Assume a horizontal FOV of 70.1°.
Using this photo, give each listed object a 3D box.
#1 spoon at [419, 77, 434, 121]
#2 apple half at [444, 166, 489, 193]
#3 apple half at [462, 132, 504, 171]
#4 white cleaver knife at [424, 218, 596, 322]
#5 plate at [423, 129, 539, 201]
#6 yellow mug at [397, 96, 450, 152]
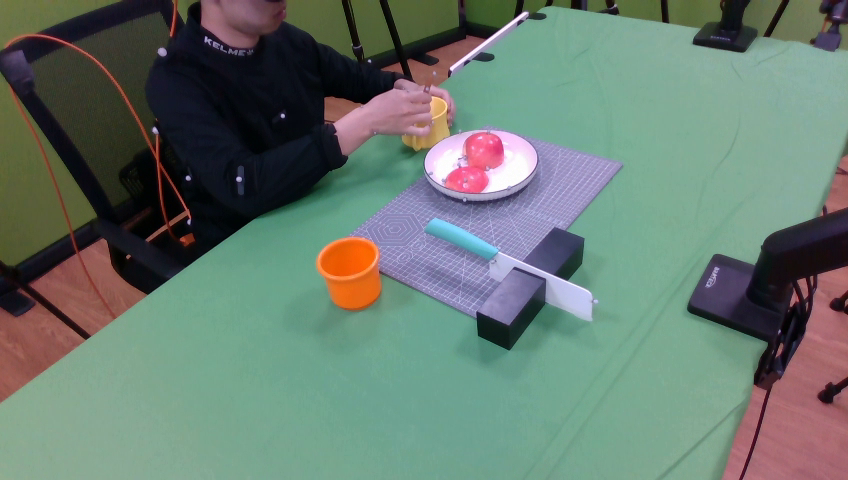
[{"bbox_3d":[0.003,-0.258,1.155,0.042,0.194,0.021,-31,75,-12],"label":"spoon"},{"bbox_3d":[0.074,-0.113,1.062,0.081,0.033,0.081,-6,39,5],"label":"apple half"},{"bbox_3d":[0.109,-0.170,1.110,0.075,0.053,0.080,-6,40,-2],"label":"apple half"},{"bbox_3d":[0.114,0.042,0.865,0.284,0.066,0.021,27,47,28],"label":"white cleaver knife"},{"bbox_3d":[0.103,-0.132,1.092,0.209,0.038,0.208,-4,40,4],"label":"plate"},{"bbox_3d":[-0.004,-0.226,1.201,0.099,0.064,0.130,5,44,16],"label":"yellow mug"}]
